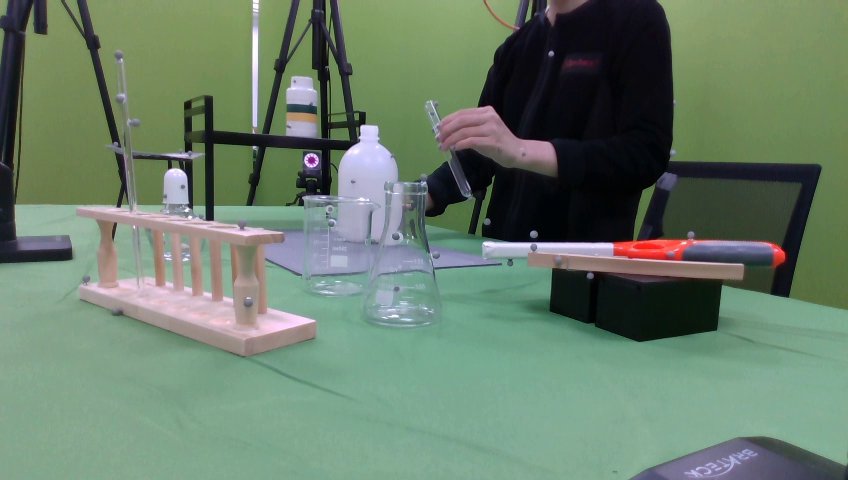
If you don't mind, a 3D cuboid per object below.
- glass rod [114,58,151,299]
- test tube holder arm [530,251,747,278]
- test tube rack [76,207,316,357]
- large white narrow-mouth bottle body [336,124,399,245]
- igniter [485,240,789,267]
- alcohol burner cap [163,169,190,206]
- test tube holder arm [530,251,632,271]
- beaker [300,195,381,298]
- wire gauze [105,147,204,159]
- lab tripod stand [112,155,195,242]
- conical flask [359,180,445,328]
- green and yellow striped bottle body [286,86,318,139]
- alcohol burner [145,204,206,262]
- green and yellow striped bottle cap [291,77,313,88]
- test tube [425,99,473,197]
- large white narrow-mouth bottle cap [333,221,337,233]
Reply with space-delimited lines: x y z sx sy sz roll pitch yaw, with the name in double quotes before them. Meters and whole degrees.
"glass rod" -0.236 -0.044 0.492 0.008 0.199 0.008 0 15 0
"test tube holder arm" 0.182 0.022 0.523 0.178 0.015 0.013 3 7 12
"test tube rack" -0.196 0.023 0.500 0.241 0.085 0.067 8 9 36
"large white narrow-mouth bottle body" -0.094 -0.095 1.018 0.102 0.194 0.101 4 11 0
"igniter" 0.197 0.012 0.585 0.276 0.025 0.057 1 5 12
"alcohol burner cap" -0.320 -0.068 0.782 0.034 0.048 0.034 1 7 0
"test tube holder arm" 0.139 0.019 0.538 0.087 0.015 0.010 3 7 13
"beaker" -0.087 0.006 0.626 0.084 0.100 0.074 1 8 -17
"wire gauze" -0.407 -0.131 0.929 0.125 0.011 0.121 2 6 -11
"lab tripod stand" -0.405 -0.064 0.931 0.148 0.131 0.148 1 7 0
"conical flask" -0.017 0.010 0.522 0.075 0.122 0.075 2 7 0
"green and yellow striped bottle body" -0.251 -0.270 1.245 0.063 0.119 0.063 2 7 0
"alcohol burner" -0.321 -0.032 0.788 0.078 0.119 0.078 0 7 0
"green and yellow striped bottle cap" -0.250 -0.321 1.238 0.045 0.020 0.045 3 6 0
"test tube" 0.035 -0.130 0.856 0.017 0.150 0.017 -23 -5 -2
"large white narrow-mouth bottle cap" -0.152 -0.024 1.134 0.038 0.024 0.037 4 7 0
